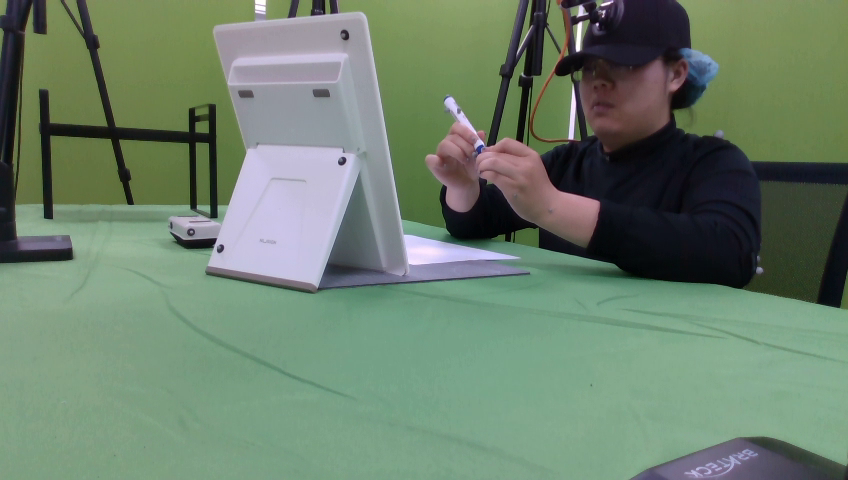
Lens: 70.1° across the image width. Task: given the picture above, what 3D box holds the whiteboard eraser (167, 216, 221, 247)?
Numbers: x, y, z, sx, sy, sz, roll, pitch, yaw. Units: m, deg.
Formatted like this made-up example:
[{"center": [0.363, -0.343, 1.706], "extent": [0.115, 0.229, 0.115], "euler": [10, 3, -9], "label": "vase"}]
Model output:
[{"center": [-0.350, -0.013, 0.920], "extent": [0.056, 0.042, 0.112], "euler": [0, 7, -35], "label": "whiteboard eraser"}]

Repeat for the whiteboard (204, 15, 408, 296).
[{"center": [-0.166, -0.072, 0.669], "extent": [0.216, 0.305, 0.144], "euler": [8, 30, 30], "label": "whiteboard"}]

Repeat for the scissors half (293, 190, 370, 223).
[{"center": [-0.205, -0.077, 1.338], "extent": [0.175, 0.040, 0.013], "euler": [22, 11, -8], "label": "scissors half"}]

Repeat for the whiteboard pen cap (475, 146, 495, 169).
[{"center": [0.085, -0.118, 0.855], "extent": [0.018, 0.033, 0.018], "euler": [-24, -23, -10], "label": "whiteboard pen cap"}]

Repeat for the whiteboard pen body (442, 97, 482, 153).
[{"center": [0.061, -0.161, 0.886], "extent": [0.017, 0.017, 0.140], "euler": [-3, 51, -36], "label": "whiteboard pen body"}]

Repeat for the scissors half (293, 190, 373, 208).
[{"center": [-0.200, -0.096, 1.332], "extent": [0.175, 0.040, 0.013], "euler": [5, 18, -4], "label": "scissors half"}]
